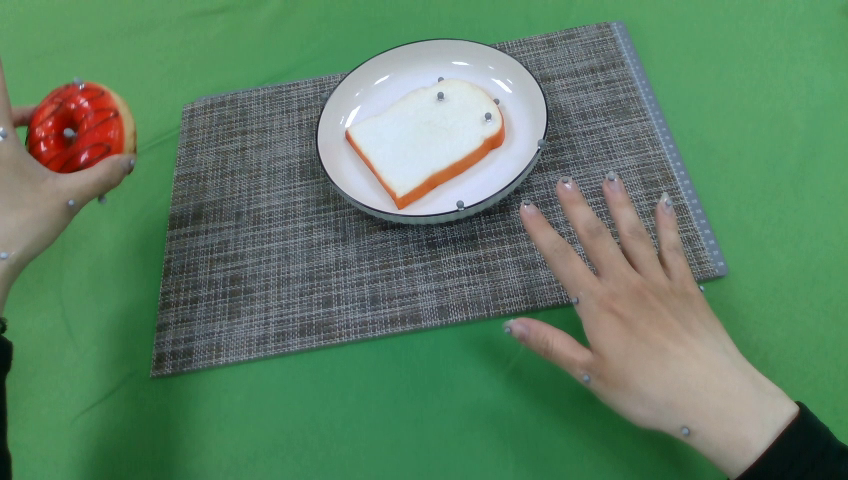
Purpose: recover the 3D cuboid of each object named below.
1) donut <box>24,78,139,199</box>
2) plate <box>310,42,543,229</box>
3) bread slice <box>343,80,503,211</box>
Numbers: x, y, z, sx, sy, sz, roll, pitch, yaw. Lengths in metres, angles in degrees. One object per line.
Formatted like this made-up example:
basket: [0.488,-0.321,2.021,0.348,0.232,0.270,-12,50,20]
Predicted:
donut: [-0.274,-0.081,0.484,0.099,0.048,0.099,-2,84,17]
plate: [0.002,-0.094,0.550,0.207,0.039,0.205,-4,59,6]
bread slice: [0.003,-0.097,0.553,0.131,0.019,0.104,-32,60,-10]
